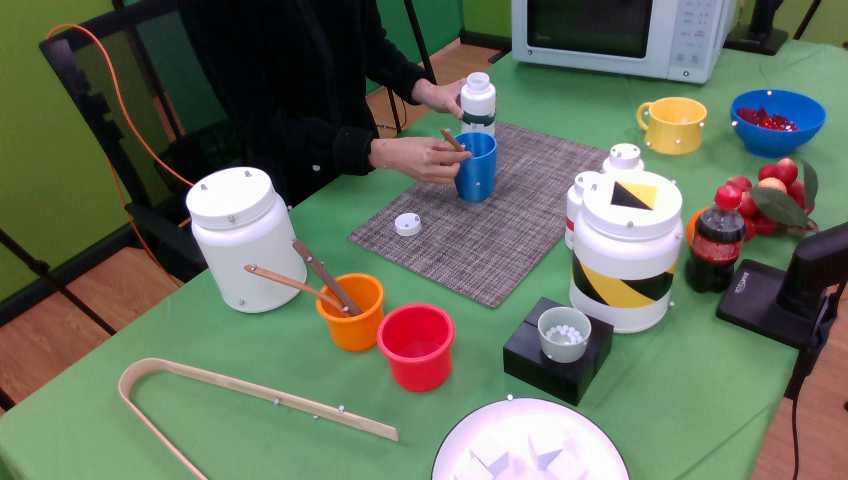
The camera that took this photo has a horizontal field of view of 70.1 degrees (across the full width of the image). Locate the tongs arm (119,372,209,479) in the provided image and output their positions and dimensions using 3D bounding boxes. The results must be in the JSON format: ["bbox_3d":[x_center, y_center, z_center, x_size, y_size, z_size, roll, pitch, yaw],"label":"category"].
[{"bbox_3d":[-0.258,0.257,0.700,0.384,0.028,0.028,24,55,34],"label":"tongs arm"}]

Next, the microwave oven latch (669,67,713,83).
[{"bbox_3d":[0.556,-0.349,1.261,0.078,0.029,0.030,16,46,27],"label":"microwave oven latch"}]

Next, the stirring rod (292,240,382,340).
[{"bbox_3d":[-0.119,0.068,0.826,0.176,0.006,0.014,49,58,-4],"label":"stirring rod"}]

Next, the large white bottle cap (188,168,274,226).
[{"bbox_3d":[-0.264,-0.061,0.831,0.115,0.018,0.114,-4,40,4],"label":"large white bottle cap"}]

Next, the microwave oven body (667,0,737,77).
[{"bbox_3d":[0.462,-0.552,1.368,0.439,0.261,0.326,14,45,26],"label":"microwave oven body"}]

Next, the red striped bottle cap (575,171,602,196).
[{"bbox_3d":[0.242,-0.081,0.876,0.044,0.018,0.044,-5,44,5],"label":"red striped bottle cap"}]

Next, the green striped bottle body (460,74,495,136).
[{"bbox_3d":[0.097,-0.237,1.093,0.063,0.120,0.063,-3,46,3],"label":"green striped bottle body"}]

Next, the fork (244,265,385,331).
[{"bbox_3d":[-0.142,0.078,0.806,0.209,0.018,0.028,30,32,-23],"label":"fork"}]

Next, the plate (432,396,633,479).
[{"bbox_3d":[0.112,0.261,0.634,0.209,0.038,0.208,-5,40,4],"label":"plate"}]

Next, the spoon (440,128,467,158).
[{"bbox_3d":[0.064,-0.131,0.986,0.041,0.195,0.021,27,78,33],"label":"spoon"}]

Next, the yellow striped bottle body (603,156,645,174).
[{"bbox_3d":[0.313,-0.089,0.956,0.063,0.121,0.062,-5,40,4],"label":"yellow striped bottle body"}]

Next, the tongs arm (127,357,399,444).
[{"bbox_3d":[-0.213,0.205,0.755,0.382,0.026,0.051,12,46,23],"label":"tongs arm"}]

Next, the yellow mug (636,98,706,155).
[{"bbox_3d":[0.453,-0.217,1.129,0.100,0.064,0.129,-34,46,-27],"label":"yellow mug"}]

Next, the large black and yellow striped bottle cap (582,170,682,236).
[{"bbox_3d":[0.252,-0.048,0.735,0.115,0.019,0.114,-3,40,3],"label":"large black and yellow striped bottle cap"}]

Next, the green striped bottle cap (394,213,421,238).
[{"bbox_3d":[-0.028,-0.025,1.010,0.044,0.020,0.044,-2,42,3],"label":"green striped bottle cap"}]

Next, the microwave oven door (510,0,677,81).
[{"bbox_3d":[0.354,-0.478,1.290,0.353,0.245,0.039,15,45,25],"label":"microwave oven door"}]

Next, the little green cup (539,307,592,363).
[{"bbox_3d":[0.168,0.115,0.721,0.061,0.039,0.061,-4,42,4],"label":"little green cup"}]

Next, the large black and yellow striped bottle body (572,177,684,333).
[{"bbox_3d":[0.262,0.017,0.788,0.131,0.185,0.130,-5,40,4],"label":"large black and yellow striped bottle body"}]

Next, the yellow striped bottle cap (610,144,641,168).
[{"bbox_3d":[0.307,-0.128,0.923,0.044,0.019,0.044,-6,39,5],"label":"yellow striped bottle cap"}]

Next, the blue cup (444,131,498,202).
[{"bbox_3d":[0.086,-0.122,1.040,0.092,0.100,0.092,-5,42,5],"label":"blue cup"}]

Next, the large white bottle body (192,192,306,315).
[{"bbox_3d":[-0.256,0.004,0.885,0.130,0.185,0.130,-4,40,4],"label":"large white bottle body"}]

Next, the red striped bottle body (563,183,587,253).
[{"bbox_3d":[0.246,-0.041,0.910,0.063,0.120,0.062,-2,38,2],"label":"red striped bottle body"}]

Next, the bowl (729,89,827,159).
[{"bbox_3d":[0.615,-0.197,1.069,0.151,0.077,0.150,-5,40,5],"label":"bowl"}]
